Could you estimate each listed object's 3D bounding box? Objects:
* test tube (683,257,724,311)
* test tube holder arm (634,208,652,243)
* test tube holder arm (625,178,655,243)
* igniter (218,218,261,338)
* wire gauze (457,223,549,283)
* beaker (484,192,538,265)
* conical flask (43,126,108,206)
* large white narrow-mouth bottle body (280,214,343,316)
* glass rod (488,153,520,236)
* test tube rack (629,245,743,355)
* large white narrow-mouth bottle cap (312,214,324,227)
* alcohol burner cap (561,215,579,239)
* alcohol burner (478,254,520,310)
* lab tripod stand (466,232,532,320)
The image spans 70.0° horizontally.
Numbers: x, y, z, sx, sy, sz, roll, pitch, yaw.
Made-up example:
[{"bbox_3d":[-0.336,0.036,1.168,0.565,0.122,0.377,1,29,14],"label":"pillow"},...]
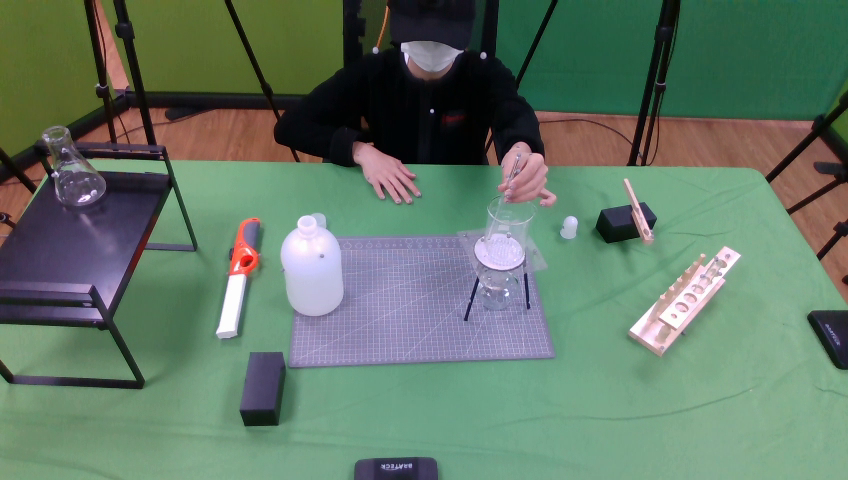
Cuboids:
[{"bbox_3d":[0.476,0.080,1.037,0.017,0.151,0.017,1,51,-2],"label":"test tube"},{"bbox_3d":[0.428,-0.030,1.189,0.010,0.015,0.087,3,47,-3],"label":"test tube holder arm"},{"bbox_3d":[0.433,-0.062,1.220,0.013,0.015,0.177,2,47,-4],"label":"test tube holder arm"},{"bbox_3d":[-0.336,0.060,1.111,0.057,0.025,0.274,-8,46,4],"label":"igniter"},{"bbox_3d":[0.131,0.016,1.017,0.121,0.011,0.124,-10,44,-15],"label":"wire gauze"},{"bbox_3d":[0.137,-0.016,0.980,0.084,0.101,0.073,-6,45,-9],"label":"beaker"},{"bbox_3d":[-0.555,-0.119,0.953,0.075,0.122,0.075,2,46,-2],"label":"conical flask"},{"bbox_3d":[-0.190,0.035,1.025,0.102,0.195,0.101,2,46,-2],"label":"large white narrow-mouth bottle body"},{"bbox_3d":[0.122,-0.064,0.928,0.008,0.200,0.008,4,55,-5],"label":"glass rod"},{"bbox_3d":[0.474,0.095,1.091,0.242,0.085,0.066,-34,56,-31],"label":"test tube rack"},{"bbox_3d":[-0.219,-0.033,1.214,0.038,0.024,0.037,2,46,-2],"label":"large white narrow-mouth bottle cap"},{"bbox_3d":[0.299,-0.030,1.231,0.034,0.048,0.033,1,47,0],"label":"alcohol burner cap"},{"bbox_3d":[0.133,0.068,1.071,0.078,0.120,0.077,0,47,0],"label":"alcohol burner"},{"bbox_3d":[0.125,0.059,1.065,0.148,0.132,0.147,1,45,0],"label":"lab tripod stand"}]
